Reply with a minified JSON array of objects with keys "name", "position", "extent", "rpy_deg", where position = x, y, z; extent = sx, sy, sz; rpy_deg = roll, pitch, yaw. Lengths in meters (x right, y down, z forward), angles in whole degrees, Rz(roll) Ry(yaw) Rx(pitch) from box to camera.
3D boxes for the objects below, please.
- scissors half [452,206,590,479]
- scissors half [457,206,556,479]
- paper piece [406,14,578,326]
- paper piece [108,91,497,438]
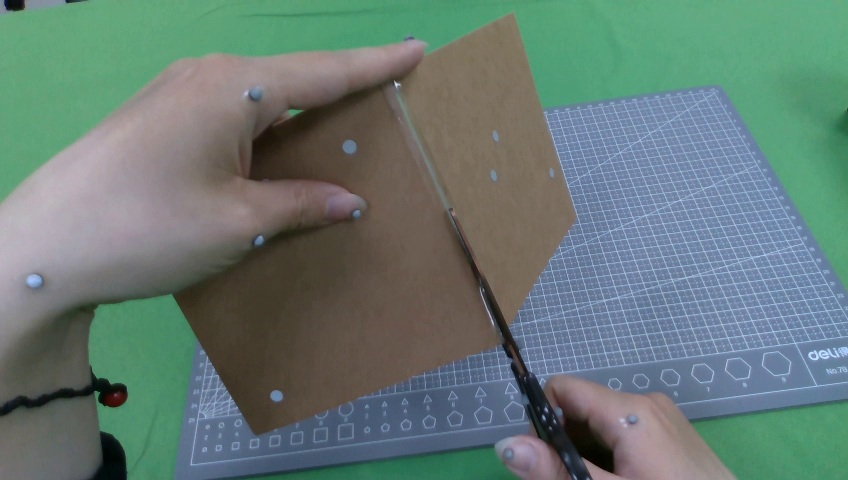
[{"name":"scissors half","position":[0.049,0.064,0.281],"extent":[0.013,0.040,0.174],"rpy_deg":[-23,85,-4]},{"name":"scissors half","position":[0.047,0.061,0.303],"extent":[0.013,0.176,0.039],"rpy_deg":[-23,23,0]},{"name":"paper piece","position":[0.048,-0.043,0.323],"extent":[0.004,0.136,0.135],"rpy_deg":[-8,22,35]},{"name":"paper piece","position":[-0.054,0.019,0.284],"extent":[0.138,0.136,0.008],"rpy_deg":[-21,14,7]}]
